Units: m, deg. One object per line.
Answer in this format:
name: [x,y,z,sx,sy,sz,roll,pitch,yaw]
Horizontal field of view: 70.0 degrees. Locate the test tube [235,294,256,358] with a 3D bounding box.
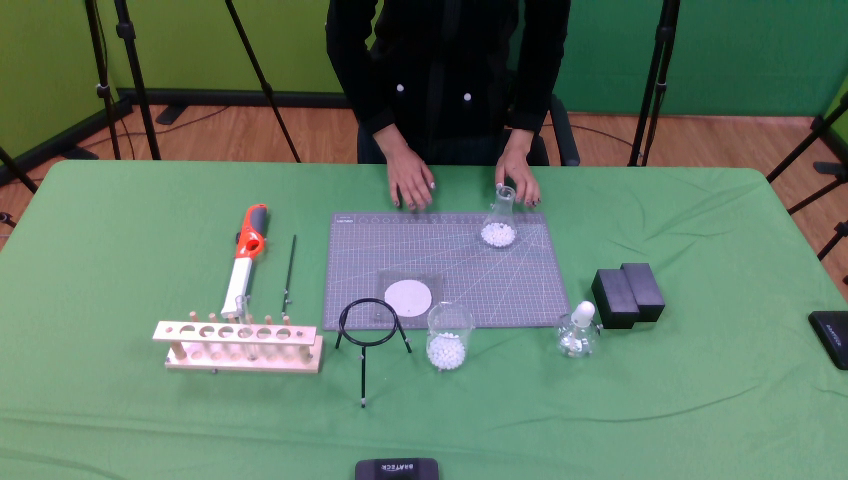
test tube: [-0.274,0.136,0.933,0.017,0.151,0.017,4,46,-4]

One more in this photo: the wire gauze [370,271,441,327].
wire gauze: [-0.032,0.103,1.105,0.125,0.011,0.121,4,46,3]

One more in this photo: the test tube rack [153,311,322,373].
test tube rack: [-0.293,0.160,0.978,0.242,0.085,0.066,3,46,-2]

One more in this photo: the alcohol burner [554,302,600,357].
alcohol burner: [0.260,0.143,1.018,0.078,0.119,0.077,3,45,-3]

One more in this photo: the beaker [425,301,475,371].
beaker: [0.038,0.159,0.996,0.074,0.101,0.083,-13,48,-17]

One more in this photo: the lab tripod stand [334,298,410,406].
lab tripod stand: [-0.086,0.164,0.957,0.148,0.132,0.147,3,44,-2]

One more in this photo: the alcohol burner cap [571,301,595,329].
alcohol burner cap: [0.262,0.120,0.991,0.034,0.048,0.033,2,52,-2]

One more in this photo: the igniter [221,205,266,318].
igniter: [-0.338,0.030,1.140,0.057,0.025,0.274,-5,46,4]

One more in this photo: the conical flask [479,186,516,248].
conical flask: [0.150,-0.049,1.186,0.075,0.122,0.075,2,46,-2]

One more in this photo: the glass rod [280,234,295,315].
glass rod: [-0.253,0.059,1.131,0.008,0.008,0.198,0,46,-3]
